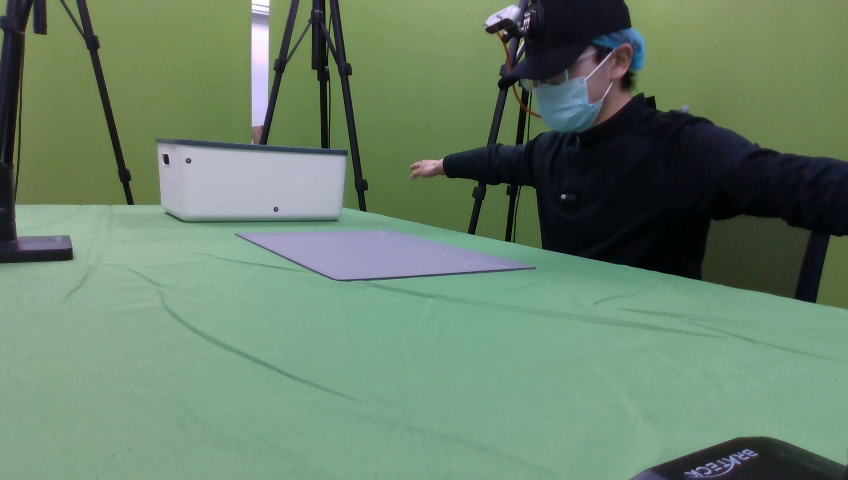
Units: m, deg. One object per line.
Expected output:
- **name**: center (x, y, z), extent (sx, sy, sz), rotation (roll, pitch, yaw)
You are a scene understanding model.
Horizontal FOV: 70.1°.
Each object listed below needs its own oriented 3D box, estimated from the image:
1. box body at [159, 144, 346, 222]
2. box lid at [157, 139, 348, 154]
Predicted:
- **box body**: center (-0.385, -0.133, 1.359), extent (0.366, 0.160, 0.253), rotation (-2, 9, -33)
- **box lid**: center (-0.379, -0.206, 1.350), extent (0.373, 0.015, 0.262), rotation (-2, 9, -33)
